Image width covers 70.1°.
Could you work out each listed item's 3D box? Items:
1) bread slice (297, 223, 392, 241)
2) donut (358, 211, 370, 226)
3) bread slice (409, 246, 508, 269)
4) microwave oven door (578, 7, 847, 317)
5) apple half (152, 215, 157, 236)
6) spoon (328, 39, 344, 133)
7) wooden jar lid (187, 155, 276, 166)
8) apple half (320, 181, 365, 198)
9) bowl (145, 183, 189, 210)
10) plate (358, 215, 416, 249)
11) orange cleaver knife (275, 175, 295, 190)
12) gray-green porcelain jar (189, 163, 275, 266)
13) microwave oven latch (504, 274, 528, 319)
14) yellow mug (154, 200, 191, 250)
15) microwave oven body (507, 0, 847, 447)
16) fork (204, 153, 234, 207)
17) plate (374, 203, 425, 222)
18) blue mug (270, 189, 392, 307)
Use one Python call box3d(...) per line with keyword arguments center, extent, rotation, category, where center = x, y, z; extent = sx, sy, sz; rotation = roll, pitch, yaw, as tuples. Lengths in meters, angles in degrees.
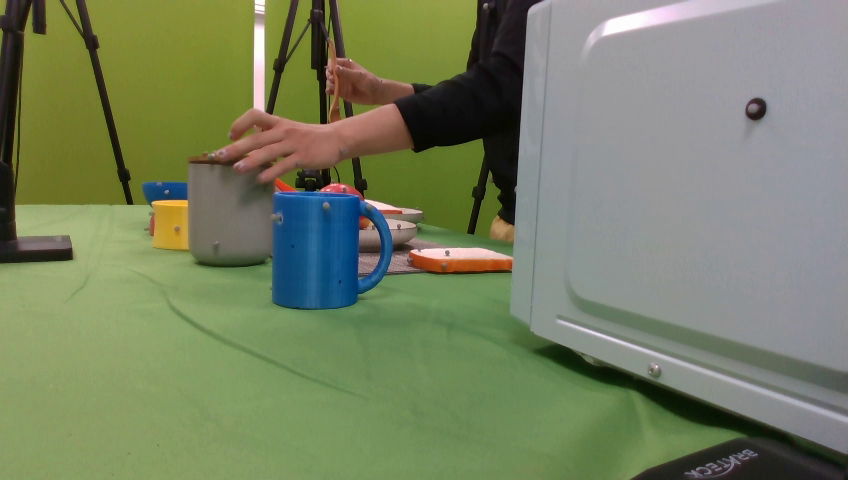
box3d(center=(-0.120, -0.014, 0.970), extent=(0.106, 0.018, 0.135), rotation=(9, 10, 41), category="bread slice")
box3d(center=(-0.132, -0.042, 0.959), extent=(0.099, 0.048, 0.099), rotation=(2, 7, 0), category="donut")
box3d(center=(0.048, 0.022, 0.816), extent=(0.132, 0.019, 0.104), rotation=(0, 6, -24), category="bread slice")
box3d(center=(0.294, -0.067, 0.570), extent=(0.358, 0.243, 0.039), rotation=(-3, 9, -31), category="microwave oven door")
box3d(center=(-0.415, -0.034, 1.017), extent=(0.081, 0.053, 0.074), rotation=(1, 10, -9), category="apple half")
box3d(center=(-0.176, -0.305, 1.196), extent=(0.021, 0.193, 0.042), rotation=(-5, -5, 28), category="spoon")
box3d(center=(-0.243, -0.097, 0.770), extent=(0.108, 0.020, 0.108), rotation=(-2, 6, 1), category="wooden jar lid")
box3d(center=(-0.130, -0.077, 0.951), extent=(0.081, 0.033, 0.081), rotation=(3, 13, 0), category="apple half")
box3d(center=(-0.459, -0.069, 1.175), extent=(0.151, 0.077, 0.151), rotation=(3, 7, 0), category="bowl")
box3d(center=(-0.116, -0.014, 0.967), extent=(0.208, 0.039, 0.207), rotation=(2, 7, 0), category="plate")
box3d(center=(-0.283, -0.087, 1.343), extent=(0.212, 0.077, 0.012), rotation=(24, -16, -41), category="orange cleaver knife")
box3d(center=(-0.246, -0.034, 0.779), extent=(0.106, 0.126, 0.106), rotation=(2, 7, 0), category="gray-green porcelain jar")
box3d(center=(0.100, 0.041, 0.470), extent=(0.079, 0.029, 0.030), rotation=(-1, 7, -27), category="microwave oven latch")
box3d(center=(-0.337, -0.022, 0.899), extent=(0.130, 0.064, 0.100), rotation=(8, 9, 34), category="yellow mug")
box3d(center=(0.331, -0.042, 0.425), extent=(0.444, 0.260, 0.324), rotation=(-2, 8, -31), category="microwave oven body")
box3d(center=(-0.480, -0.135, 1.411), extent=(0.028, 0.018, 0.207), rotation=(0, -34, -1), category="fork")
box3d(center=(-0.102, -0.053, 1.299), extent=(0.209, 0.038, 0.209), rotation=(2, 8, 0), category="plate")
box3d(center=(-0.089, 0.005, 0.588), extent=(0.117, 0.106, 0.082), rotation=(1, 7, -10), category="blue mug")
